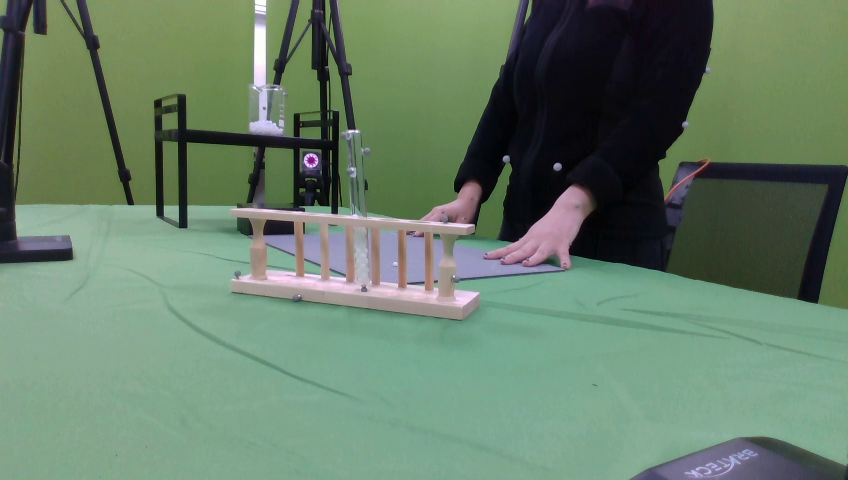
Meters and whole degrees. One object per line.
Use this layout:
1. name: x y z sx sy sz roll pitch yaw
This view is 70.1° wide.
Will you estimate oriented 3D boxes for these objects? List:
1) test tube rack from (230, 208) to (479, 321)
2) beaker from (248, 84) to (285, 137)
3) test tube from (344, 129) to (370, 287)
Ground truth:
1. test tube rack: -0.069 0.017 0.598 0.242 0.085 0.067 5 8 18
2. beaker: -0.321 -0.261 1.225 0.074 0.100 0.084 3 8 3
3. test tube: -0.063 -0.029 0.571 0.017 0.150 0.017 -3 9 1
